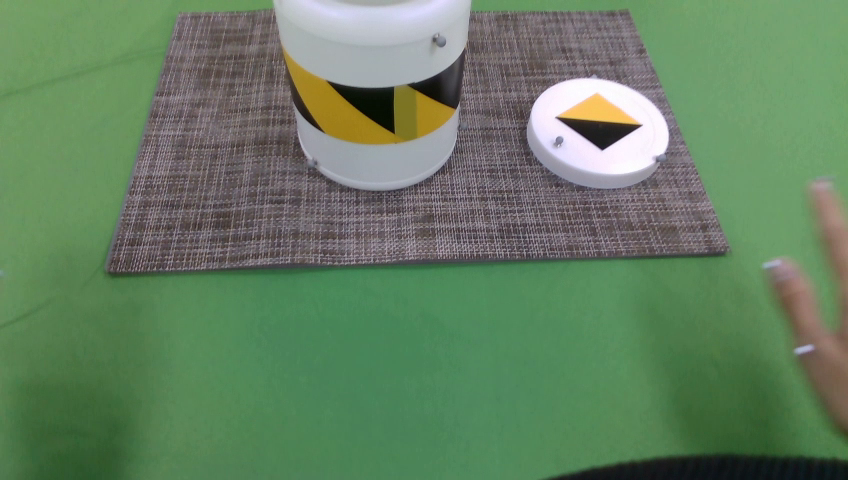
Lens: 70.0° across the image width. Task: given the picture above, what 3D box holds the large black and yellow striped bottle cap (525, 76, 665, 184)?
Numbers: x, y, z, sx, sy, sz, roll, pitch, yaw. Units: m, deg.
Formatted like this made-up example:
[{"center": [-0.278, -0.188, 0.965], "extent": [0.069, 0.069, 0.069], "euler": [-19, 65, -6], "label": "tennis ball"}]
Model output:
[{"center": [0.143, -0.095, 0.507], "extent": [0.115, 0.019, 0.114], "euler": [2, 54, -3], "label": "large black and yellow striped bottle cap"}]

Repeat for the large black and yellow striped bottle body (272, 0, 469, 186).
[{"center": [-0.036, -0.143, 0.428], "extent": [0.131, 0.185, 0.129], "euler": [2, 55, -2], "label": "large black and yellow striped bottle body"}]
